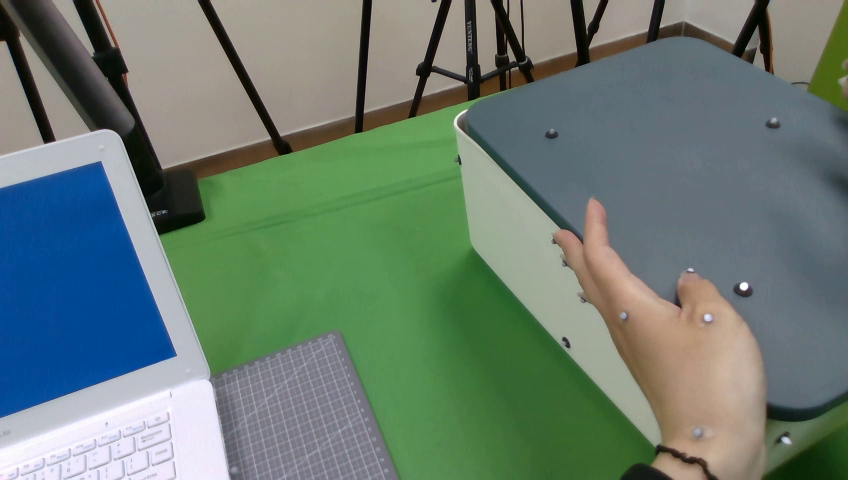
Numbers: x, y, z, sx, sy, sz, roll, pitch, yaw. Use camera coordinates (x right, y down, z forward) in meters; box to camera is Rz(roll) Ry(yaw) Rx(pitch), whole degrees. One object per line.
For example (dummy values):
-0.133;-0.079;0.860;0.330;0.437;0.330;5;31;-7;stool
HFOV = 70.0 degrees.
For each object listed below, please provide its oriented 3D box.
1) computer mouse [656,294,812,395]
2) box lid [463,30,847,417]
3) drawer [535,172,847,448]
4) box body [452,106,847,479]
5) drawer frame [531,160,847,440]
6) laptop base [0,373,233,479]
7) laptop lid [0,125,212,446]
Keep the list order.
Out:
0.260;0.085;0.511;0.117;0.041;0.062;-18;46;-2;computer mouse
0.217;-0.056;0.455;0.263;0.015;0.367;-22;45;-13;box lid
0.230;0.043;0.522;0.195;0.074;0.209;-21;43;-13;drawer
0.218;-0.008;0.526;0.254;0.162;0.360;-23;43;-17;box body
0.232;0.034;0.516;0.202;0.083;0.211;-20;39;-16;drawer frame
-0.305;0.244;0.421;0.355;0.023;0.232;-19;46;-14;laptop base
-0.381;0.067;0.477;0.357;0.242;0.013;-20;13;-13;laptop lid
